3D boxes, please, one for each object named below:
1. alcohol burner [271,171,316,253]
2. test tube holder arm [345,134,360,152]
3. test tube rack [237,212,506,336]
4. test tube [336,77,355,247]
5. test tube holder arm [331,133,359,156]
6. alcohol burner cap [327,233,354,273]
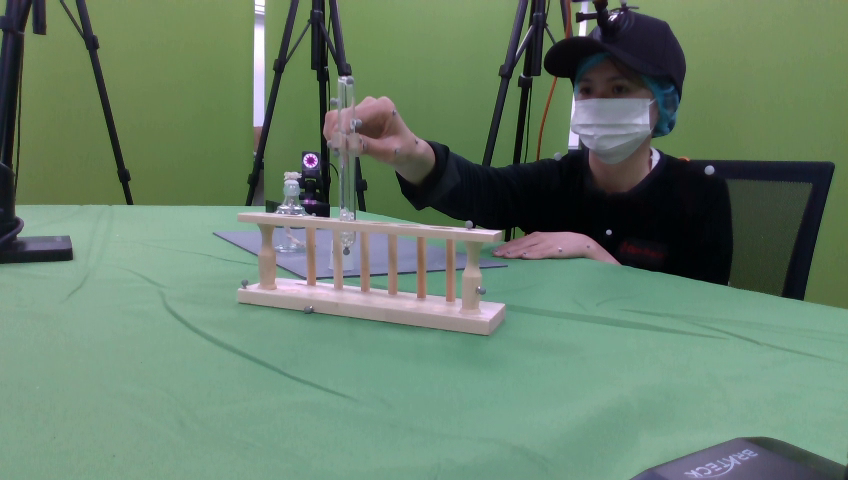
[{"bbox_3d":[-0.196,-0.041,0.884,0.078,0.119,0.078,3,5,0],"label":"alcohol burner"},{"bbox_3d":[-0.067,-0.089,0.558,0.010,0.015,0.087,2,6,-11],"label":"test tube holder arm"},{"bbox_3d":[-0.049,0.024,0.552,0.242,0.085,0.067,5,8,18],"label":"test tube rack"},{"bbox_3d":[-0.069,-0.068,0.536,0.017,0.150,0.017,0,2,0],"label":"test tube"},{"bbox_3d":[-0.077,-0.094,0.602,0.013,0.015,0.178,4,6,-3],"label":"test tube holder arm"},{"bbox_3d":[-0.104,0.016,0.752,0.034,0.048,0.034,3,6,0],"label":"alcohol burner cap"}]
